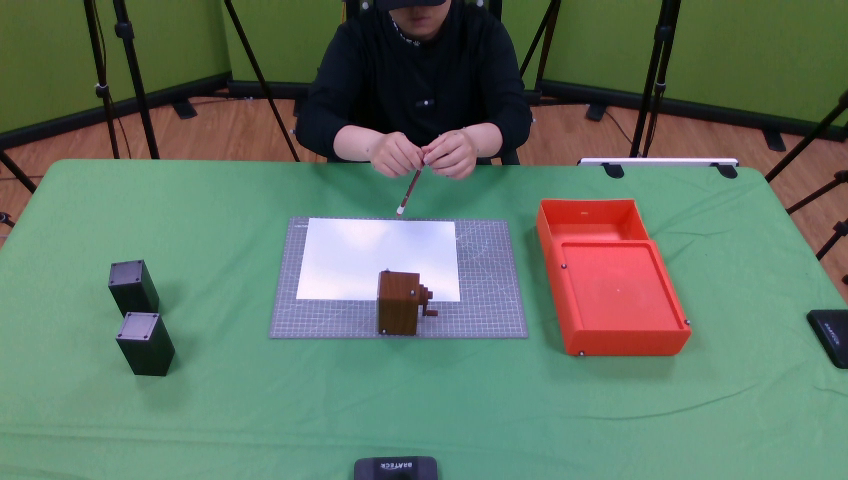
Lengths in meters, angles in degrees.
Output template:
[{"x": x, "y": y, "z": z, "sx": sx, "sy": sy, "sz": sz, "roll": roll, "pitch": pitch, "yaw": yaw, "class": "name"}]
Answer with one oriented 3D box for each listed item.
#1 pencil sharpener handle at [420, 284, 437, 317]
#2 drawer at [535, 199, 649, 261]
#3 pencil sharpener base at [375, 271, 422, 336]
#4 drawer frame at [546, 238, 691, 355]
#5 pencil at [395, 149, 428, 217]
[{"x": 0.009, "y": 0.103, "z": 1.017, "sx": 0.030, "sy": 0.068, "sz": 0.036, "roll": 3, "pitch": 40, "yaw": -2, "class": "pencil sharpener handle"}, {"x": 0.332, "y": 0.015, "z": 1.169, "sx": 0.195, "sy": 0.073, "sz": 0.210, "roll": 0, "pitch": 46, "yaw": -5, "class": "drawer"}, {"x": -0.043, "y": 0.109, "z": 1.025, "sx": 0.077, "sy": 0.107, "sz": 0.061, "roll": 3, "pitch": 45, "yaw": -2, "class": "pencil sharpener base"}, {"x": 0.338, "y": 0.097, "z": 1.086, "sx": 0.202, "sy": 0.083, "sz": 0.212, "roll": 0, "pitch": 46, "yaw": -4, "class": "drawer frame"}, {"x": -0.023, "y": -0.104, "z": 1.136, "sx": 0.012, "sy": 0.194, "sz": 0.012, "roll": 11, "pitch": 52, "yaw": -14, "class": "pencil"}]
